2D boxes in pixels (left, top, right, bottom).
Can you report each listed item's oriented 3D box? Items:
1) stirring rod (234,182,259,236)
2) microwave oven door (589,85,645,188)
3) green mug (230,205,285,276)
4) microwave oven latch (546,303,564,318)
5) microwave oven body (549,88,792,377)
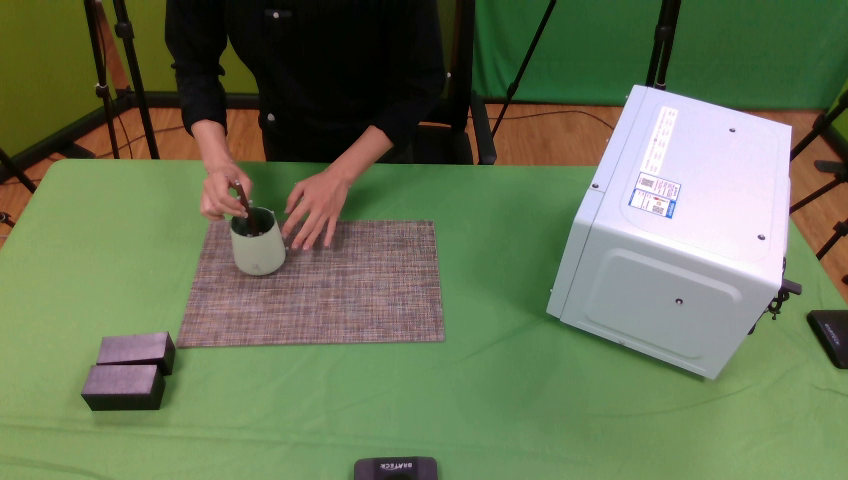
[{"bbox_3d":[-0.309,-0.041,1.071,0.014,0.177,0.006,20,55,15],"label":"stirring rod"},{"bbox_3d":[0.342,-0.107,1.148,0.039,0.245,0.354,20,48,15],"label":"microwave oven door"},{"bbox_3d":[-0.311,-0.008,1.118,0.092,0.105,0.124,-14,49,-16],"label":"green mug"},{"bbox_3d":[0.242,0.102,1.081,0.030,0.029,0.079,22,48,17],"label":"microwave oven latch"},{"bbox_3d":[0.456,-0.028,1.087,0.325,0.261,0.440,20,47,16],"label":"microwave oven body"}]
